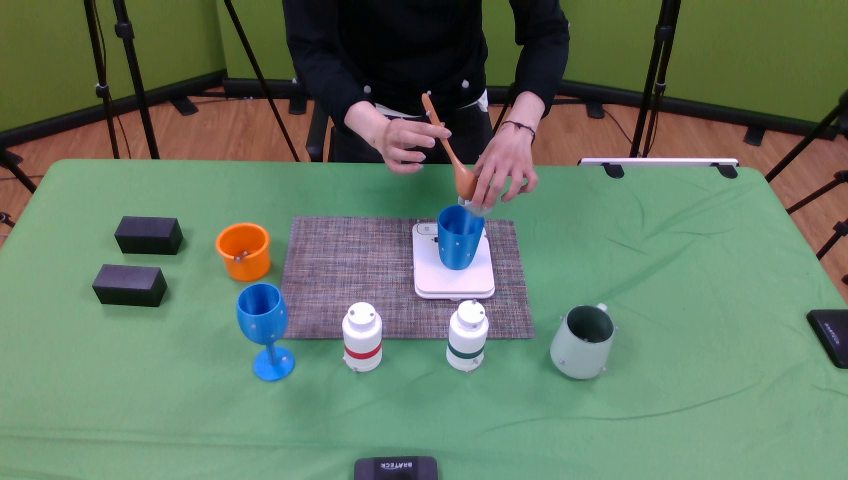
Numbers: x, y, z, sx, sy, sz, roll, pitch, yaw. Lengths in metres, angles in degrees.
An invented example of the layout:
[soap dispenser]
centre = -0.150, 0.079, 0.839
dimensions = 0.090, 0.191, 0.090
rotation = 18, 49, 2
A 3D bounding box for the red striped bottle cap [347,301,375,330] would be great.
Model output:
[red striped bottle cap]
centre = -0.097, 0.116, 0.934
dimensions = 0.044, 0.018, 0.044
rotation = 2, 49, -2

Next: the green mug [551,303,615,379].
[green mug]
centre = 0.271, 0.158, 1.007
dimensions = 0.092, 0.105, 0.125
rotation = 27, 50, 21

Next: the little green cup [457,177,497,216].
[little green cup]
centre = 0.091, -0.071, 1.024
dimensions = 0.039, 0.061, 0.061
rotation = 40, 38, -27

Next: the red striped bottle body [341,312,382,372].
[red striped bottle body]
centre = -0.100, 0.154, 0.972
dimensions = 0.063, 0.120, 0.062
rotation = 1, 46, -1

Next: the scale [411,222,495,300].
[scale]
centre = 0.052, 0.031, 1.158
dimensions = 0.149, 0.032, 0.199
rotation = 1, 46, -4

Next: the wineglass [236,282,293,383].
[wineglass]
centre = -0.243, 0.143, 0.934
dimensions = 0.074, 0.173, 0.073
rotation = 2, 46, -2

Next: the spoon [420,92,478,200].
[spoon]
centre = 0.038, -0.149, 0.979
dimensions = 0.041, 0.194, 0.021
rotation = -30, 18, -5

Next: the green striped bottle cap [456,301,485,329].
[green striped bottle cap]
centre = 0.073, 0.116, 0.943
dimensions = 0.044, 0.020, 0.044
rotation = 4, 46, -4

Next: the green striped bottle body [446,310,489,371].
[green striped bottle body]
centre = 0.070, 0.155, 0.984
dimensions = 0.063, 0.120, 0.063
rotation = 2, 46, -2

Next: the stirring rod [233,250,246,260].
[stirring rod]
centre = -0.324, 0.026, 1.067
dimensions = 0.014, 0.006, 0.176
rotation = -8, 4, -13

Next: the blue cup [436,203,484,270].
[blue cup]
centre = 0.061, -0.001, 1.099
dimensions = 0.093, 0.101, 0.092
rotation = 2, 44, -2
